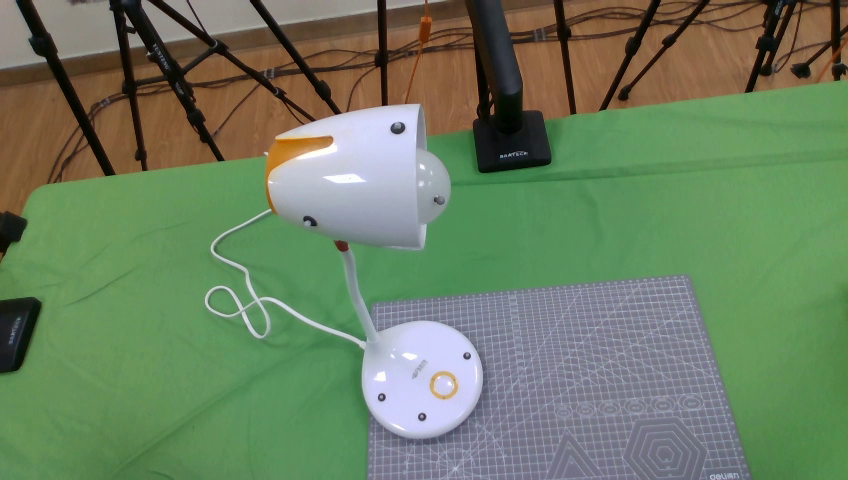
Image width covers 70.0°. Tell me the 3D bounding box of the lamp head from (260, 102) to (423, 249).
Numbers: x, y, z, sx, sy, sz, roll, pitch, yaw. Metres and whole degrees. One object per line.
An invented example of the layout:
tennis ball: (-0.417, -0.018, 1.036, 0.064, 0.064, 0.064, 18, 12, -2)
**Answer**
lamp head: (-0.060, -0.046, 0.467, 0.123, 0.113, 0.111, -3, 57, 8)

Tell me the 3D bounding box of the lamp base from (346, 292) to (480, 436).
lamp base: (-0.029, 0.133, 0.738, 0.178, 0.182, 0.160, 16, 60, 21)

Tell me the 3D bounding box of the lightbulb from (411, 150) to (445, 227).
lightbulb: (-0.038, -0.036, 0.460, 0.107, 0.060, 0.059, -5, 57, 8)
